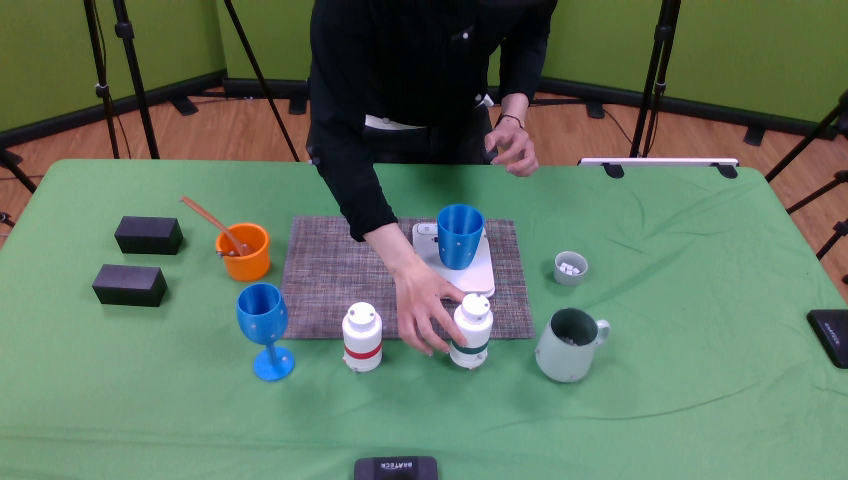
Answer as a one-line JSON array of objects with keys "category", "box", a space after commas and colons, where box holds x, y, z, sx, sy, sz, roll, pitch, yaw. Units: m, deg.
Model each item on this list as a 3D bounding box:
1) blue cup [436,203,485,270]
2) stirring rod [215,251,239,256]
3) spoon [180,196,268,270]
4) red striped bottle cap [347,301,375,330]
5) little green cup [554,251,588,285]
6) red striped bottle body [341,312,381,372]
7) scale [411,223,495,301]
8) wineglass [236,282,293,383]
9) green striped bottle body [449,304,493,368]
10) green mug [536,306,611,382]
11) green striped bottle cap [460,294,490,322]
[{"category": "blue cup", "box": [0.062, -0.001, 1.099, 0.093, 0.101, 0.092, 2, 43, -2]}, {"category": "stirring rod", "box": [-0.339, 0.024, 1.059, 0.014, 0.176, 0.006, 16, 86, -6]}, {"category": "spoon", "box": [-0.360, -0.014, 1.095, 0.021, 0.194, 0.041, -27, 26, 31]}, {"category": "red striped bottle cap", "box": [-0.097, 0.116, 0.934, 0.044, 0.018, 0.044, 2, 49, -2]}, {"category": "little green cup", "box": [0.277, 0.055, 1.152, 0.061, 0.039, 0.061, 1, 45, -1]}, {"category": "red striped bottle body", "box": [-0.100, 0.154, 0.972, 0.063, 0.120, 0.062, 2, 46, -2]}, {"category": "scale", "box": [0.052, 0.032, 1.158, 0.149, 0.032, 0.199, 1, 46, -4]}, {"category": "wineglass", "box": [-0.243, 0.143, 0.934, 0.074, 0.173, 0.073, 2, 46, -2]}, {"category": "green striped bottle body", "box": [0.076, 0.145, 0.970, 0.063, 0.120, 0.063, 2, 42, -2]}, {"category": "green mug", "box": [0.250, 0.167, 0.996, 0.125, 0.105, 0.092, -15, 48, -18]}, {"category": "green striped bottle cap", "box": [0.079, 0.104, 0.932, 0.044, 0.020, 0.044, 3, 43, -3]}]
